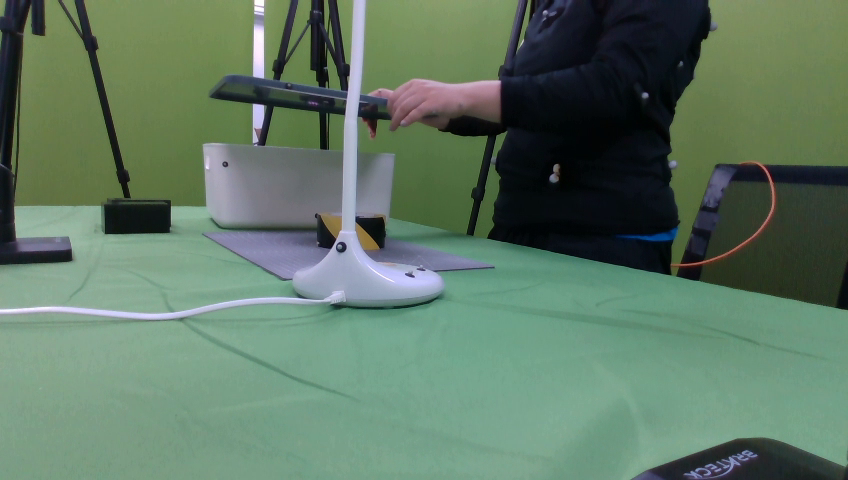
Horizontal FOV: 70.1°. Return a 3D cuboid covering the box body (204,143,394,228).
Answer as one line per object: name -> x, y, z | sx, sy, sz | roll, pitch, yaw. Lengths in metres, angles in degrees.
box body -> -0.271, -0.117, 1.292 | 0.366, 0.160, 0.253 | -1, 8, -25

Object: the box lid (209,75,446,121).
box lid -> -0.174, -0.241, 1.060 | 0.373, 0.015, 0.262 | 2, 6, -26

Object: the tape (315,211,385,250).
tape -> -0.119, -0.017, 0.973 | 0.117, 0.052, 0.117 | 2, 7, 0

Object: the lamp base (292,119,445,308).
lamp base -> -0.056, -0.030, 0.616 | 0.160, 0.180, 0.179 | 4, 10, 8
